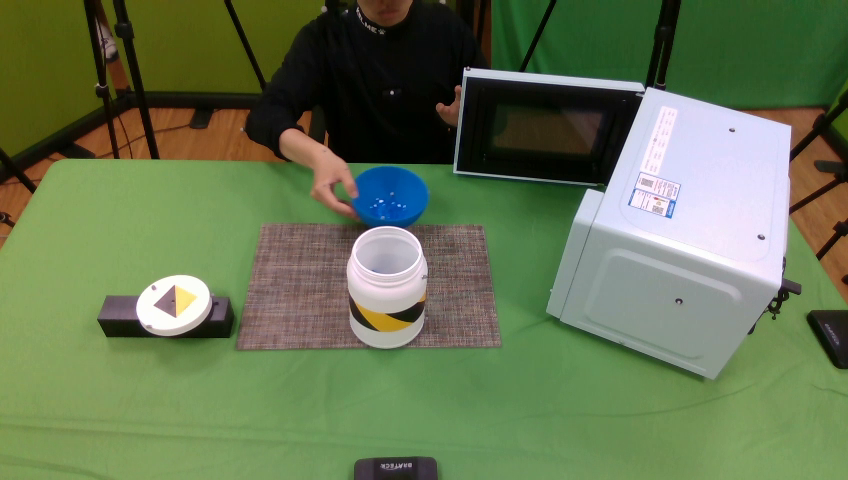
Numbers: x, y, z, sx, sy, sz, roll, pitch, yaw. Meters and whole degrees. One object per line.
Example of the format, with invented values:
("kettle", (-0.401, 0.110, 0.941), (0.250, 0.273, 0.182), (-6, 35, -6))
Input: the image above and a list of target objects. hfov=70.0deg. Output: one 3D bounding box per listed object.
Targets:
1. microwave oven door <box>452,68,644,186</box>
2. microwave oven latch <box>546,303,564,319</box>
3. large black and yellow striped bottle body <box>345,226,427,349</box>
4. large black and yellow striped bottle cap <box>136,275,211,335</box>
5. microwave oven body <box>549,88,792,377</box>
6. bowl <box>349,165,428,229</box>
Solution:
("microwave oven door", (0.246, -0.230, 1.260), (0.356, 0.245, 0.039), (5, 46, 1))
("microwave oven latch", (0.242, 0.102, 1.081), (0.030, 0.029, 0.079), (21, 48, 17))
("large black and yellow striped bottle body", (-0.062, 0.078, 0.998), (0.131, 0.185, 0.130), (2, 46, -2))
("large black and yellow striped bottle cap", (-0.412, 0.105, 0.999), (0.115, 0.019, 0.114), (3, 46, -3))
("microwave oven body", (0.456, -0.028, 1.088), (0.325, 0.261, 0.440), (20, 47, 16))
("bowl", (-0.070, -0.066, 1.173), (0.151, 0.077, 0.150), (4, 49, -4))
